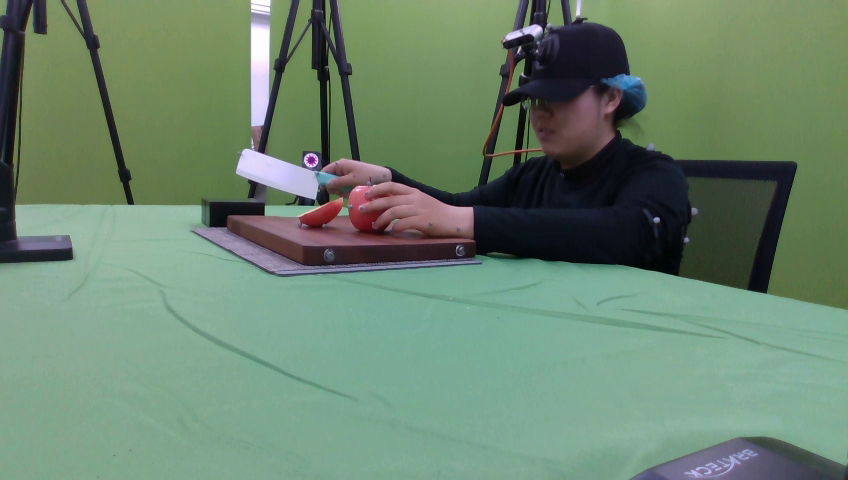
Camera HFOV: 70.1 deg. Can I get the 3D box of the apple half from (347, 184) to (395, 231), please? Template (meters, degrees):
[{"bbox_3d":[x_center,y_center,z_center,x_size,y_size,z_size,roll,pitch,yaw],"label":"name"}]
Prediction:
[{"bbox_3d":[-0.075,-0.049,0.948,0.053,0.074,0.081,13,8,34],"label":"apple half"}]

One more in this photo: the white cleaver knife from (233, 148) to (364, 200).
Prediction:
[{"bbox_3d":[-0.237,-0.116,1.212,0.288,0.066,0.021,15,-11,-30],"label":"white cleaver knife"}]

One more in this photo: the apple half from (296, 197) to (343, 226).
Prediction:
[{"bbox_3d":[-0.163,-0.041,0.979,0.081,0.033,0.081,-21,7,3],"label":"apple half"}]
